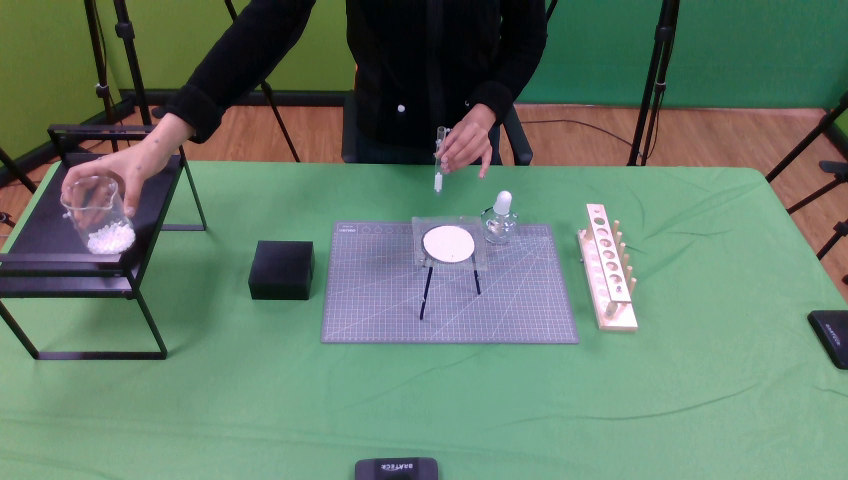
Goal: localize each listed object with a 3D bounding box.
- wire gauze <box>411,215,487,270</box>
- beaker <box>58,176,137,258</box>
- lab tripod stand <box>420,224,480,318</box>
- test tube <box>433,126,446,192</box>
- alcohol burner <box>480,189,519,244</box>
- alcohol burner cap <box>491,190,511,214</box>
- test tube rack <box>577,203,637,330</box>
[{"bbox_3d":[0.041,0.002,1.026,0.125,0.011,0.120,1,46,-3],"label":"wire gauze"},{"bbox_3d":[-0.460,-0.029,0.868,0.083,0.101,0.074,26,49,24],"label":"beaker"},{"bbox_3d":[0.034,0.051,1.071,0.148,0.132,0.147,3,48,-3],"label":"lab tripod stand"},{"bbox_3d":[0.027,-0.143,1.095,0.017,0.151,0.017,1,49,-2],"label":"test tube"},{"bbox_3d":[0.150,-0.051,1.191,0.078,0.120,0.077,1,46,-1],"label":"alcohol burner"},{"bbox_3d":[0.151,-0.076,1.166,0.034,0.048,0.033,5,51,-6],"label":"alcohol burner cap"},{"bbox_3d":[0.349,0.044,1.138,0.067,0.085,0.241,2,46,-2],"label":"test tube rack"}]
